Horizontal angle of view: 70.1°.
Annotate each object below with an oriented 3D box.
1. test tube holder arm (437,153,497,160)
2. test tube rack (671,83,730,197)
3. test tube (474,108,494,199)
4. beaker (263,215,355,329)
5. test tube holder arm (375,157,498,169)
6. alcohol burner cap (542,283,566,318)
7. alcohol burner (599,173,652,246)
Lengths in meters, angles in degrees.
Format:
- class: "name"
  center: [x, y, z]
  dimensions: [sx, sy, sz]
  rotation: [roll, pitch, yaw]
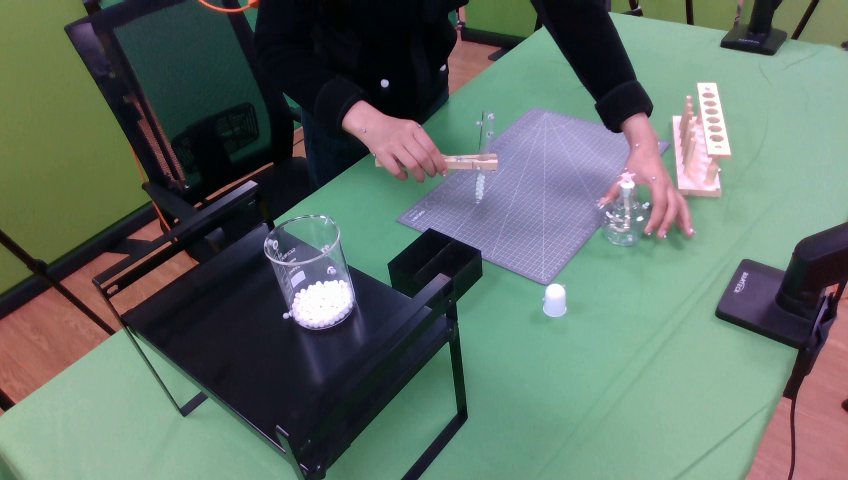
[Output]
- class: "test tube holder arm"
  center: [0.063, -0.117, 0.884]
  dimensions: [0.088, 0.015, 0.010]
  rotation: [-3, 35, -3]
- class: "test tube rack"
  center: [0.483, -0.184, 1.067]
  dimensions: [0.066, 0.085, 0.242]
  rotation: [5, 42, 15]
- class: "test tube"
  center: [0.086, -0.121, 0.875]
  dimensions: [0.017, 0.150, 0.017]
  rotation: [2, 40, -1]
- class: "beaker"
  center: [-0.111, 0.034, 0.616]
  dimensions: [0.073, 0.101, 0.084]
  rotation: [13, 44, 23]
- class: "test tube holder arm"
  center: [0.018, -0.113, 0.879]
  dimensions: [0.178, 0.015, 0.013]
  rotation: [0, 34, 2]
- class: "alcohol burner cap"
  center: [0.182, 0.081, 0.839]
  dimensions: [0.034, 0.048, 0.033]
  rotation: [-3, 40, 3]
- class: "alcohol burner"
  center: [0.306, -0.050, 0.917]
  dimensions: [0.078, 0.119, 0.077]
  rotation: [-6, 41, 6]
